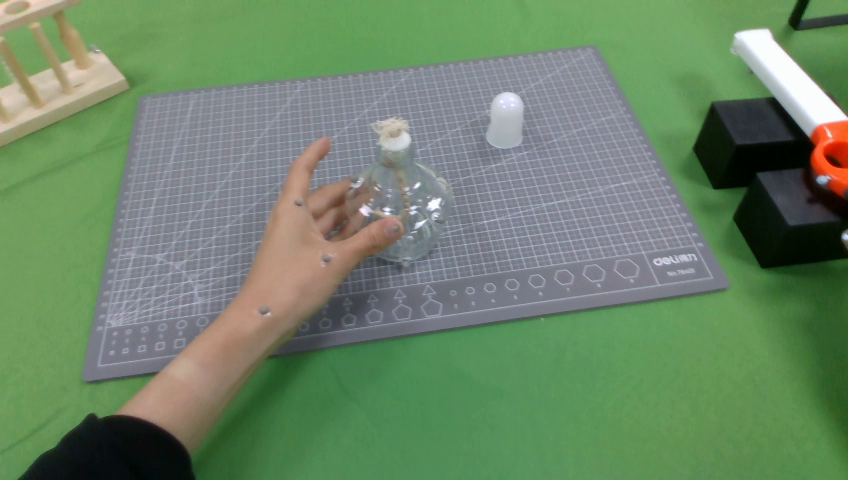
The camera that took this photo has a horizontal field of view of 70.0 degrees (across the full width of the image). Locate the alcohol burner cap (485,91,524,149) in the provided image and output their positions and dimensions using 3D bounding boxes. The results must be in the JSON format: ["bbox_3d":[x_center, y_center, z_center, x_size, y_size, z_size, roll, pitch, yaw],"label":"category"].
[{"bbox_3d":[0.070,-0.106,0.519,0.034,0.048,0.033,0,51,0],"label":"alcohol burner cap"}]

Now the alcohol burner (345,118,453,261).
[{"bbox_3d":[-0.018,-0.039,0.424,0.078,0.120,0.077,0,53,0],"label":"alcohol burner"}]

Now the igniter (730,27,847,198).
[{"bbox_3d":[0.300,-0.074,0.441,0.057,0.025,0.273,-9,50,-2],"label":"igniter"}]

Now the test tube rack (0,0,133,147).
[{"bbox_3d":[-0.397,-0.131,0.526,0.242,0.086,0.066,-34,58,-23],"label":"test tube rack"}]

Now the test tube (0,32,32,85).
[{"bbox_3d":[-0.378,-0.199,0.512,0.017,0.152,0.017,-4,44,4],"label":"test tube"}]
